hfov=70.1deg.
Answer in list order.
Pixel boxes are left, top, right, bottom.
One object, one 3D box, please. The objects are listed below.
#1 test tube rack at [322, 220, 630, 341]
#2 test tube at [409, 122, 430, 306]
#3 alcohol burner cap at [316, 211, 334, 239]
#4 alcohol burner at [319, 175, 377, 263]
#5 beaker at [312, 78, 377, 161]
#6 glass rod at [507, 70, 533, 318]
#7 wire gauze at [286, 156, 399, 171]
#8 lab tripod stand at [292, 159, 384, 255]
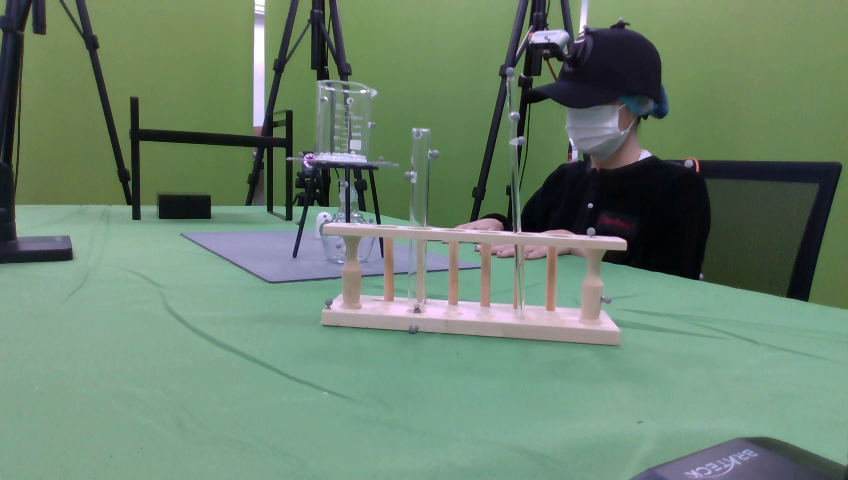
[{"bbox_3d":[0.041,0.029,0.512,0.242,0.085,0.067,3,7,5],"label":"test tube rack"},{"bbox_3d":[-0.004,-0.019,0.489,0.017,0.150,0.017,1,11,0],"label":"test tube"},{"bbox_3d":[-0.171,-0.027,1.048,0.034,0.048,0.034,2,8,0],"label":"alcohol burner cap"},{"bbox_3d":[-0.101,-0.030,0.807,0.078,0.119,0.078,0,7,0],"label":"alcohol burner"},{"bbox_3d":[-0.103,-0.151,0.776,0.084,0.100,0.074,5,7,14],"label":"beaker"},{"bbox_3d":[0.076,-0.031,0.476,0.008,0.199,0.008,-6,12,2],"label":"glass rod"},{"bbox_3d":[-0.101,-0.103,0.788,0.121,0.011,0.125,5,4,6],"label":"wire gauze"},{"bbox_3d":[-0.105,-0.039,0.797,0.148,0.131,0.148,2,5,0],"label":"lab tripod stand"}]
